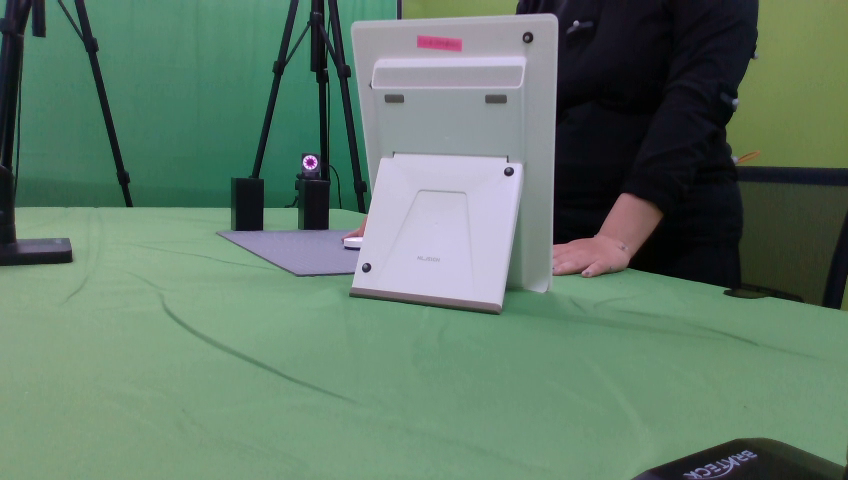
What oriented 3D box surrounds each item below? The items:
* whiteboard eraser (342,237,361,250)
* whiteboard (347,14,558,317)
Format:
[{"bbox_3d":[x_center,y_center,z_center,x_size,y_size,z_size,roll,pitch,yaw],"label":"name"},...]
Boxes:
[{"bbox_3d":[-0.082,0.004,0.967,0.102,0.019,0.041,-1,7,-30],"label":"whiteboard eraser"},{"bbox_3d":[0.012,-0.056,0.608,0.216,0.305,0.144,6,27,20],"label":"whiteboard"}]
